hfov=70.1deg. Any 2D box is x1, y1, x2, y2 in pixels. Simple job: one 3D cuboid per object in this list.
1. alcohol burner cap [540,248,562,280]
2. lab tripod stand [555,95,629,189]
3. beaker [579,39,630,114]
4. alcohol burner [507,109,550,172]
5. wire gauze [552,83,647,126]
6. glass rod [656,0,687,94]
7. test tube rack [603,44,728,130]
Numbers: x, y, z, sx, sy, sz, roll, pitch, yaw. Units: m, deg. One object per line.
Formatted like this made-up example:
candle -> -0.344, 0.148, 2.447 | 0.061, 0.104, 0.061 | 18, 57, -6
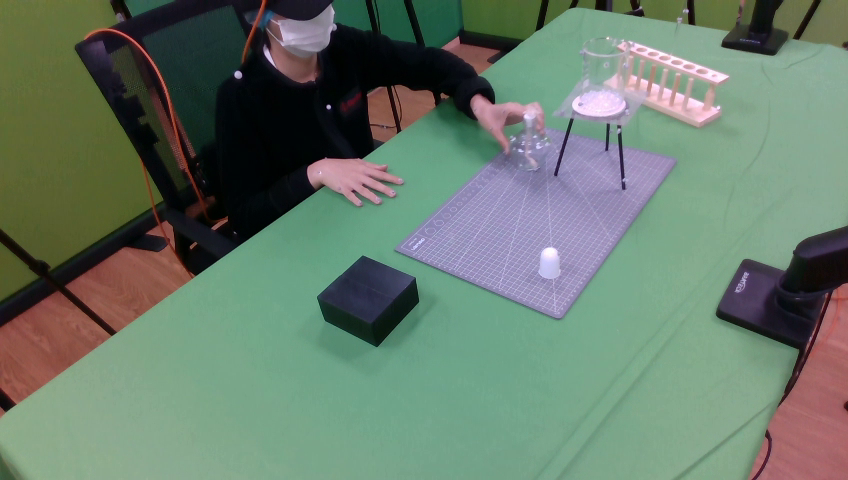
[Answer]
alcohol burner cap -> 0.187, 0.032, 0.888 | 0.034, 0.048, 0.033 | -4, 40, 4
lab tripod stand -> 0.300, -0.174, 1.045 | 0.148, 0.132, 0.147 | -5, 38, 5
beaker -> 0.289, -0.263, 0.975 | 0.073, 0.101, 0.084 | 17, 45, 27
alcohol burner -> 0.189, -0.184, 1.090 | 0.078, 0.119, 0.077 | -3, 41, 3
wire gauze -> 0.293, -0.224, 1.004 | 0.120, 0.011, 0.125 | 19, 43, 26
glass rod -> 0.491, -0.381, 1.199 | 0.008, 0.200, 0.008 | 1, 41, 0
test tube rack -> 0.480, -0.316, 1.227 | 0.067, 0.085, 0.240 | -28, 44, -22
